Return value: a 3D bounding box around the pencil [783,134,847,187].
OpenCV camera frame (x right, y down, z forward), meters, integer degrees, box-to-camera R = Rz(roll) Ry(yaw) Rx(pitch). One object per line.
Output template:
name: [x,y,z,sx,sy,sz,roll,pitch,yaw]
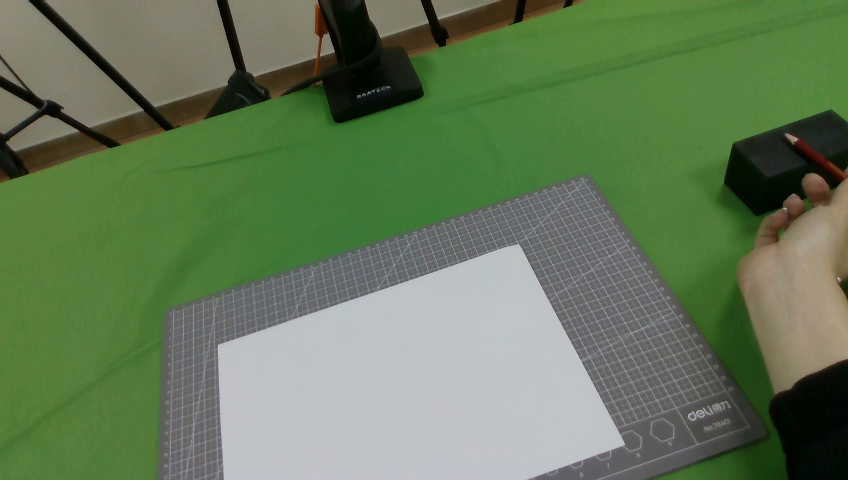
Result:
pencil: [0.354,-0.032,0.477,0.012,0.012,0.192,-22,47,-5]
